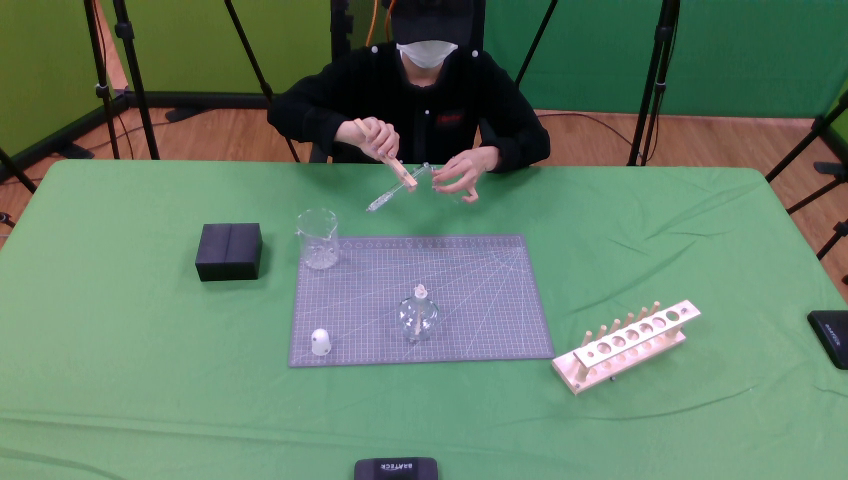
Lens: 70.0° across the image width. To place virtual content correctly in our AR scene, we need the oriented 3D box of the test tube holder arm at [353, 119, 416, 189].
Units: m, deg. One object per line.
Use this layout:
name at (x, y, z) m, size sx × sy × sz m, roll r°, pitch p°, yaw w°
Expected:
test tube holder arm at (-0.073, -0.160, 1.106) m, size 0.015 × 0.013 × 0.177 m, roll -31°, pitch 71°, yaw -28°

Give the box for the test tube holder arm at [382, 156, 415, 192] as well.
test tube holder arm at (-0.047, -0.123, 1.100) m, size 0.015 × 0.010 × 0.087 m, roll -31°, pitch 77°, yaw -28°

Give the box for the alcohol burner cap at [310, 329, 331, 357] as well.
alcohol burner cap at (-0.173, 0.168, 1.004) m, size 0.034 × 0.048 × 0.033 m, roll 2°, pitch 46°, yaw -2°

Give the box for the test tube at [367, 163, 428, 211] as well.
test tube at (-0.046, -0.095, 1.080) m, size 0.017 × 0.017 × 0.150 m, roll 34°, pitch 57°, yaw 25°

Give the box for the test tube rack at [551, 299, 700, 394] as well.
test tube rack at (0.339, 0.166, 1.021) m, size 0.242 × 0.085 × 0.066 m, roll -19°, pitch 50°, yaw -21°

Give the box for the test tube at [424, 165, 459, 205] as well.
test tube at (0.036, -0.105, 1.184) m, size 0.017 × 0.151 × 0.017 m, roll -10°, pitch 64°, yaw 22°

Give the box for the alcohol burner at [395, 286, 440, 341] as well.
alcohol burner at (-0.010, 0.116, 1.018) m, size 0.078 × 0.119 × 0.077 m, roll 3°, pitch 47°, yaw -3°

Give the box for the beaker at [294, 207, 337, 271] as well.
beaker at (-0.196, 0.003, 1.123) m, size 0.074 × 0.101 × 0.083 m, roll -23°, pitch 53°, yaw -24°
